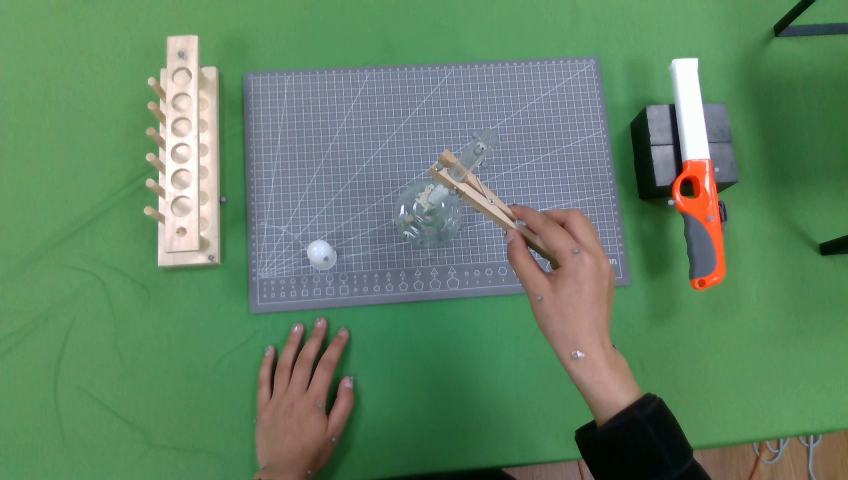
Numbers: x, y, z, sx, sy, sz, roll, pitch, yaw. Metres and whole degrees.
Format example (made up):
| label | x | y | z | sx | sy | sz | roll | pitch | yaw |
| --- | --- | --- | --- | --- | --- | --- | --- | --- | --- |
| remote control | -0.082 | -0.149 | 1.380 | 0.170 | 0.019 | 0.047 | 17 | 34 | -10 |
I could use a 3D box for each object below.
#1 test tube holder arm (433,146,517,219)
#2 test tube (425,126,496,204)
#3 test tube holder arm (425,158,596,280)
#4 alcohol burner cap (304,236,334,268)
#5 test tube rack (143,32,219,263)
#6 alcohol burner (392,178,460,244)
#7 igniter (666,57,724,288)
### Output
| label | x | y | z | sx | sy | sz | roll | pitch | yaw |
| --- | --- | --- | --- | --- | --- | --- | --- | --- | --- |
| test tube holder arm | 0.045 | -0.047 | 0.524 | 0.088 | 0.015 | 0.010 | 42 | 68 | -6 |
| test tube | 0.027 | -0.059 | 0.514 | 0.017 | 0.150 | 0.017 | 4 | 75 | -15 |
| test tube holder arm | 0.077 | -0.016 | 0.528 | 0.179 | 0.015 | 0.013 | 35 | 69 | -9 |
| alcohol burner cap | -0.121 | 0.011 | 0.691 | 0.034 | 0.048 | 0.033 | 1 | 77 | -3 |
| test tube rack | -0.277 | -0.102 | 0.684 | 0.067 | 0.085 | 0.241 | -3 | 79 | -4 |
| alcohol burner | 0.003 | -0.036 | 0.673 | 0.078 | 0.119 | 0.077 | 0 | 80 | -2 |
| igniter | 0.311 | -0.082 | 0.701 | 0.057 | 0.025 | 0.275 | -2 | 78 | 2 |
